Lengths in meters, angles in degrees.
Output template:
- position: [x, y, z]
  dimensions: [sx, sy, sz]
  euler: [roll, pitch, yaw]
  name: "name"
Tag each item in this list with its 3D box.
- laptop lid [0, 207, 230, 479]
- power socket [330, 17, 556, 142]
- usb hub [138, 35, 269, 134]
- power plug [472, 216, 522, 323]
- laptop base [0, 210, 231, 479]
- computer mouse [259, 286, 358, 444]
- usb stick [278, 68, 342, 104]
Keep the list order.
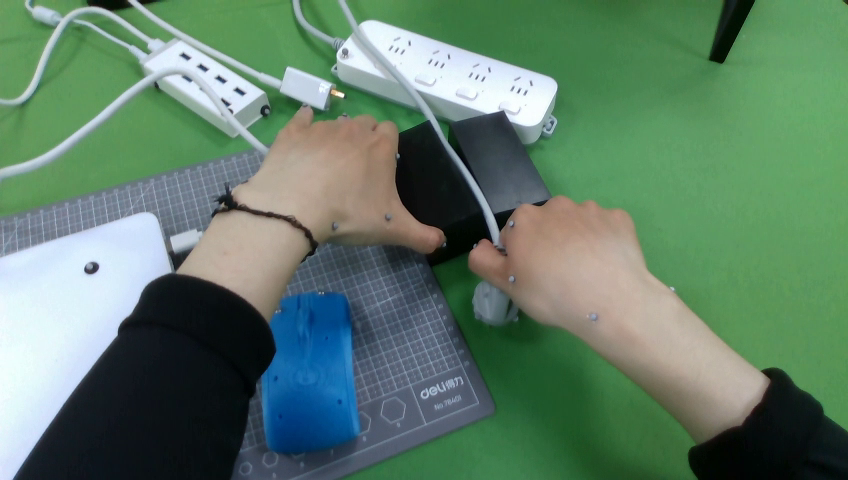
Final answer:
- position: [-0.326, 0.122, 0.387]
  dimensions: [0.357, 0.013, 0.239]
  euler: [-19, 62, -13]
  name: "laptop lid"
- position: [0.019, -0.157, 0.581]
  dimensions: [0.226, 0.033, 0.072]
  euler: [22, 59, 12]
  name: "power socket"
- position: [-0.210, -0.149, 0.574]
  dimensions: [0.124, 0.025, 0.049]
  euler: [33, 62, 19]
  name: "usb hub"
- position: [0.059, 0.027, 0.453]
  dimensions: [0.035, 0.053, 0.072]
  euler: [17, 60, 4]
  name: "power plug"
- position: [-0.327, 0.126, 0.398]
  dimensions: [0.355, 0.023, 0.233]
  euler: [-21, 64, -14]
  name: "laptop base"
- position: [-0.081, 0.081, 0.419]
  dimensions: [0.063, 0.041, 0.116]
  euler: [-8, 53, -4]
  name: "computer mouse"
- position: [-0.106, -0.144, 0.572]
  dimensions: [0.059, 0.027, 0.021]
  euler: [12, 13, -10]
  name: "usb stick"
